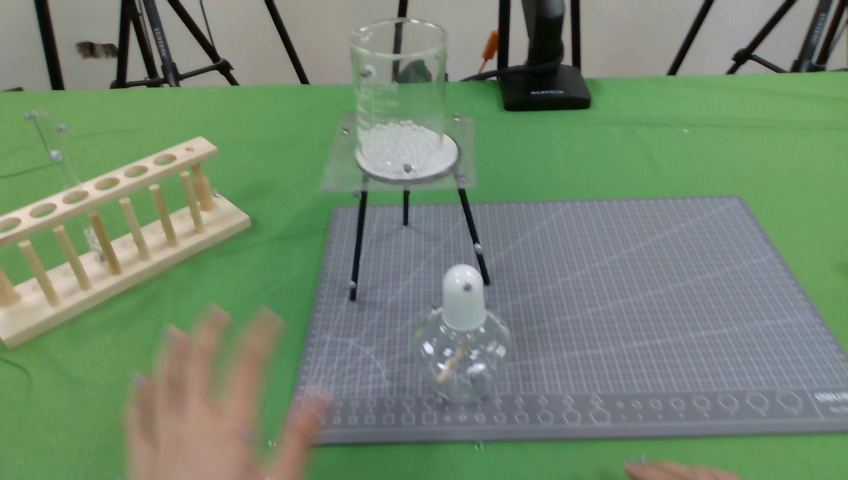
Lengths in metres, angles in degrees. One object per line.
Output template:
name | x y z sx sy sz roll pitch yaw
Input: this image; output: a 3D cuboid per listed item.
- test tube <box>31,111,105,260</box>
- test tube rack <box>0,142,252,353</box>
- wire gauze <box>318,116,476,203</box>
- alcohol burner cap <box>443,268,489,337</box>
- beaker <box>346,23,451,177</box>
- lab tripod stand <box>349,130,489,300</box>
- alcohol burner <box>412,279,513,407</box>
test tube | -0.320 -0.044 0.553 0.017 0.151 0.017 -2 34 2
test tube rack | -0.296 -0.003 0.580 0.242 0.086 0.066 -32 48 -32
wire gauze | -0.019 -0.071 0.506 0.121 0.011 0.124 0 41 2
alcohol burner cap | 0.029 0.041 0.428 0.034 0.048 0.033 -4 39 4
beaker | -0.022 -0.108 0.473 0.083 0.101 0.074 28 46 30
lab tripod stand | -0.009 -0.022 0.549 0.148 0.132 0.147 0 38 0
alcohol burner | 0.029 0.070 0.451 0.078 0.120 0.077 0 41 1
